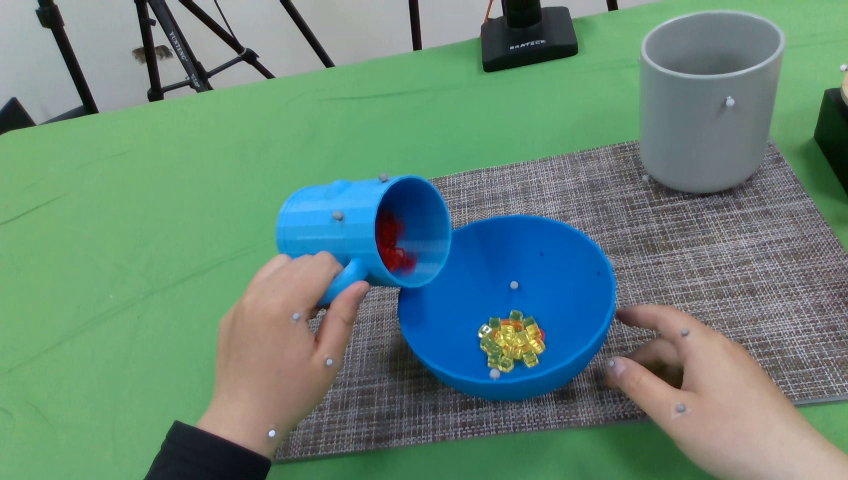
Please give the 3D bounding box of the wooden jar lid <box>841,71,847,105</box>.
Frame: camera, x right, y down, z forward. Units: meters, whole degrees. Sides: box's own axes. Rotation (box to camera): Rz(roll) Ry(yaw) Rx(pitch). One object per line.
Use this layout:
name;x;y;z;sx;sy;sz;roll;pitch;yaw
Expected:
wooden jar lid;0.393;-0.114;0.480;0.108;0.021;0.107;-10;43;10

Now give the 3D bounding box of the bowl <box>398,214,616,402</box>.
bowl;0.063;0.060;0.439;0.151;0.077;0.150;-9;43;9

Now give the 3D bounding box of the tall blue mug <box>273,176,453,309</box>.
tall blue mug;-0.049;0.010;0.433;0.107;0.078;0.106;-1;64;43

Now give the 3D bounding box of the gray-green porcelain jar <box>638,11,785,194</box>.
gray-green porcelain jar;0.239;-0.111;0.519;0.106;0.128;0.105;-10;44;10
